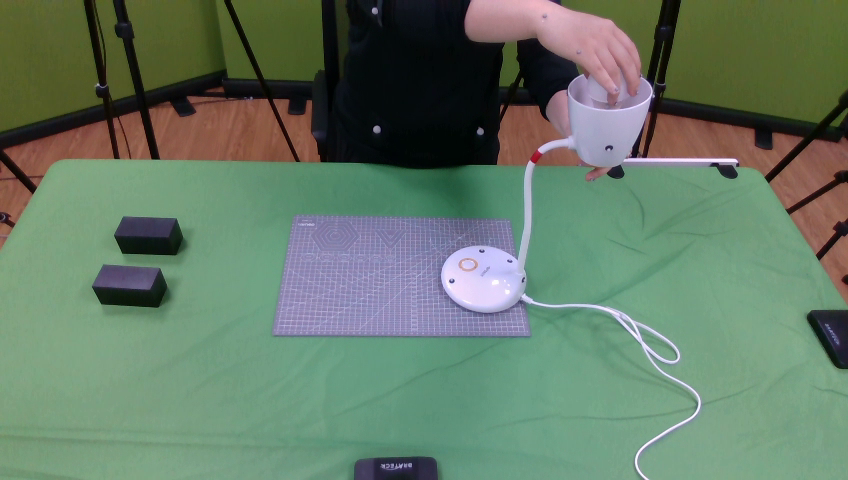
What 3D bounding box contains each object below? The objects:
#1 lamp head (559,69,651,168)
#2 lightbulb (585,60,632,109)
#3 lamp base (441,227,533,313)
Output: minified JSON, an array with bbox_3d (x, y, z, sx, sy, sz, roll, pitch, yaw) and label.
[{"bbox_3d":[0.252,-0.164,0.860,0.112,0.123,0.111,0,43,0],"label":"lamp head"},{"bbox_3d":[0.250,-0.194,0.830,0.059,0.108,0.059,-5,44,5],"label":"lightbulb"},{"bbox_3d":[0.126,0.022,1.071,0.179,0.181,0.160,23,49,14],"label":"lamp base"}]
